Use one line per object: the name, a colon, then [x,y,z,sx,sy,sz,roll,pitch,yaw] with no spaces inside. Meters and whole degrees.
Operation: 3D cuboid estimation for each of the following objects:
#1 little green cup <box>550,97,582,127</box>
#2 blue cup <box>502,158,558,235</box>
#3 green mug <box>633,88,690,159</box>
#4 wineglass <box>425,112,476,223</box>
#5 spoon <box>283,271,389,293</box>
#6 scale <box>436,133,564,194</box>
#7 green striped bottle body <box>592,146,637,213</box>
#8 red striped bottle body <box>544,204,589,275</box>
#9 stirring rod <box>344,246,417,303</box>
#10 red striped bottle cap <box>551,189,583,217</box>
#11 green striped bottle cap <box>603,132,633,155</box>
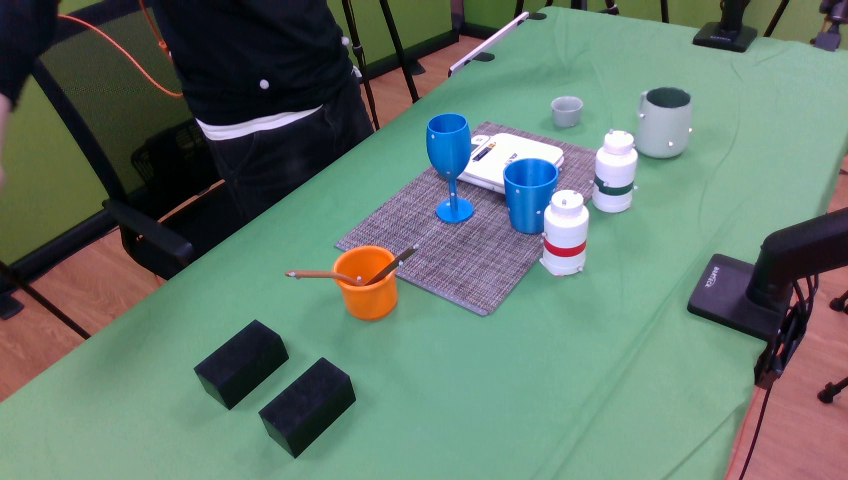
little green cup: [0.284,-0.255,1.213,0.061,0.039,0.061,-4,41,4]
blue cup: [0.168,-0.064,0.954,0.092,0.100,0.092,-5,38,5]
green mug: [0.423,-0.217,1.099,0.093,0.105,0.124,-16,41,-10]
wineglass: [0.043,-0.114,0.972,0.074,0.173,0.073,-4,41,4]
spoon: [-0.117,0.054,0.824,0.041,0.195,0.021,17,89,38]
scale: [0.137,-0.142,1.101,0.199,0.032,0.149,22,48,30]
green striped bottle body: [0.307,-0.108,0.976,0.063,0.120,0.063,-4,41,4]
red striped bottle body: [0.206,-0.011,0.877,0.063,0.120,0.062,-4,41,4]
stirring rod: [-0.062,0.050,0.819,0.014,0.175,0.006,-1,63,-40]
red striped bottle cap: [0.200,-0.052,0.843,0.044,0.018,0.044,-2,42,2]
green striped bottle cap: [0.302,-0.149,0.938,0.044,0.020,0.044,-3,40,3]
